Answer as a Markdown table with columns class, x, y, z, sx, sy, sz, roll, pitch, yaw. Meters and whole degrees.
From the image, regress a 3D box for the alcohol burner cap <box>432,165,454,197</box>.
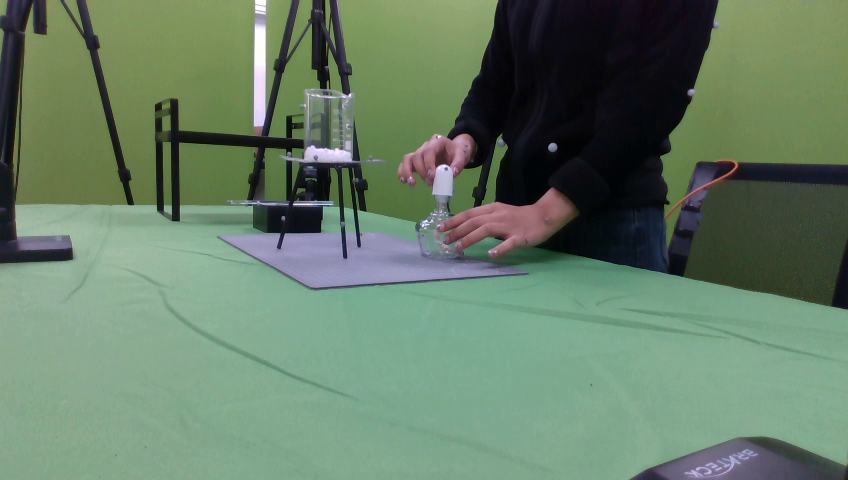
| class | x | y | z | sx | sy | sz | roll | pitch | yaw |
| --- | --- | --- | --- | --- | --- | --- | --- | --- | --- |
| alcohol burner cap | 0.030 | -0.086 | 0.888 | 0.034 | 0.048 | 0.034 | 5 | 5 | 0 |

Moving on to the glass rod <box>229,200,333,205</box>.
| class | x | y | z | sx | sy | sz | roll | pitch | yaw |
| --- | --- | --- | --- | --- | --- | --- | --- | --- | --- |
| glass rod | -0.265 | -0.071 | 1.144 | 0.201 | 0.008 | 0.008 | -1 | 8 | -31 |

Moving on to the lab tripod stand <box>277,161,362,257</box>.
| class | x | y | z | sx | sy | sz | roll | pitch | yaw |
| --- | --- | --- | --- | --- | --- | --- | --- | --- | --- |
| lab tripod stand | -0.143 | -0.049 | 0.884 | 0.148 | 0.131 | 0.148 | 1 | 9 | 0 |

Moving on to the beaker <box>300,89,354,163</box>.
| class | x | y | z | sx | sy | sz | roll | pitch | yaw |
| --- | --- | --- | --- | --- | --- | --- | --- | --- | --- |
| beaker | -0.137 | -0.161 | 0.869 | 0.083 | 0.100 | 0.074 | 9 | 10 | 42 |

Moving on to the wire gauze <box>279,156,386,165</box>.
| class | x | y | z | sx | sy | sz | roll | pitch | yaw |
| --- | --- | --- | --- | --- | --- | --- | --- | --- | --- |
| wire gauze | -0.134 | -0.113 | 0.875 | 0.122 | 0.011 | 0.124 | -1 | 6 | -30 |

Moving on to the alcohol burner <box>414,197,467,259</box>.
| class | x | y | z | sx | sy | sz | roll | pitch | yaw |
| --- | --- | --- | --- | --- | --- | --- | --- | --- | --- |
| alcohol burner | 0.026 | -0.032 | 0.891 | 0.078 | 0.119 | 0.078 | 4 | 6 | 0 |
